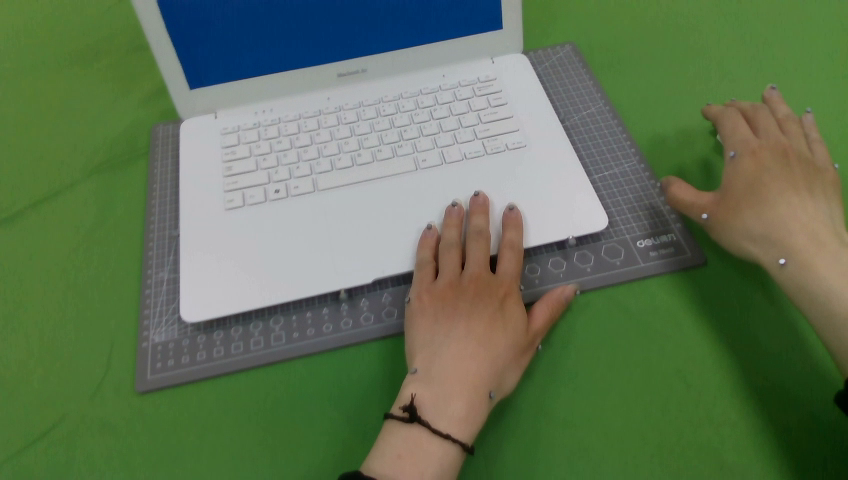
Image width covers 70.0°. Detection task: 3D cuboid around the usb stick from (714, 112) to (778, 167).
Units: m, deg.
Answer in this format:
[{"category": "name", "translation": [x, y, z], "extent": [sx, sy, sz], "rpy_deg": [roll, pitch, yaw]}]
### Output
[{"category": "usb stick", "translation": [0.286, -0.095, 0.544], "extent": [0.021, 0.027, 0.058], "rpy_deg": [-23, 52, -9]}]

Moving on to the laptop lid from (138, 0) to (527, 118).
[{"category": "laptop lid", "translation": [-0.081, -0.247, 0.548], "extent": [0.357, 0.244, 0.013], "rpy_deg": [-14, 37, -3]}]

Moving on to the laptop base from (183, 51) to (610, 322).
[{"category": "laptop base", "translation": [-0.039, -0.062, 0.552], "extent": [0.355, 0.023, 0.233], "rpy_deg": [-13, 58, -4]}]
